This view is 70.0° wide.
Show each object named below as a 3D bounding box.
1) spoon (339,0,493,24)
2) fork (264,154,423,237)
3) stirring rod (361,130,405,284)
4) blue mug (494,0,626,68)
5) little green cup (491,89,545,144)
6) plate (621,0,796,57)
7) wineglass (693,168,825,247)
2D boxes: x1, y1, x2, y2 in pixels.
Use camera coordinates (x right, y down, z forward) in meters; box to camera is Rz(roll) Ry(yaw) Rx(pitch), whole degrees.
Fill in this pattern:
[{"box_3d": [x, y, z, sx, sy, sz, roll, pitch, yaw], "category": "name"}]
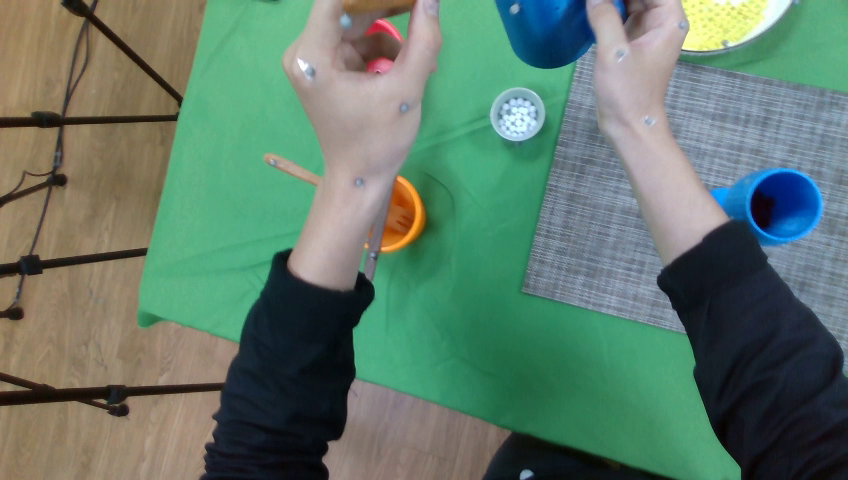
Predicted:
[{"box_3d": [0.014, -0.152, 0.366, 0.021, 0.193, 0.042, 39, 132, 8], "category": "spoon"}, {"box_3d": [-0.085, -0.049, 0.687, 0.209, 0.018, 0.028, 24, 102, -35], "category": "fork"}, {"box_3d": [-0.046, -0.036, 0.678, 0.014, 0.006, 0.176, 13, 92, 11], "category": "stirring rod"}, {"box_3d": [0.116, -0.203, 0.512, 0.115, 0.107, 0.082, 30, 87, 24], "category": "blue mug"}, {"box_3d": [0.111, -0.142, 0.711, 0.061, 0.039, 0.061, 0, 90, 10], "category": "little green cup"}, {"box_3d": [0.312, -0.306, 0.679, 0.209, 0.038, 0.209, 0, 91, 9], "category": "plate"}, {"box_3d": [0.325, -0.028, 0.604, 0.073, 0.172, 0.073, 0, 89, 10], "category": "wineglass"}]
